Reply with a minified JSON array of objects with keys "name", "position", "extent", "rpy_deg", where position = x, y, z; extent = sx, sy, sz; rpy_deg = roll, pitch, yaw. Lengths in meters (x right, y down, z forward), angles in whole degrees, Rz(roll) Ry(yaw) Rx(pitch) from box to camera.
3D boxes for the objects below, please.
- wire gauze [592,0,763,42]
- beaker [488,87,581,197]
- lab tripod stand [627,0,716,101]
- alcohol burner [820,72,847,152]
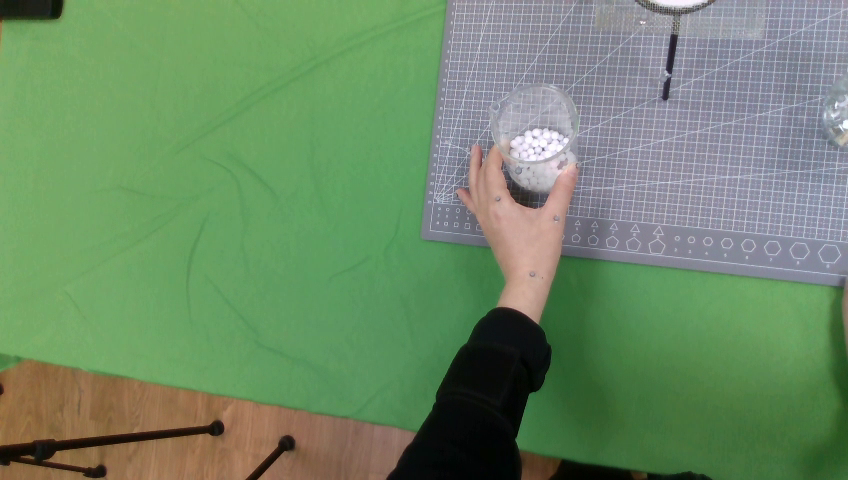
[{"name":"wire gauze","position":[0.195,-0.213,0.460],"extent":[0.124,0.011,0.121],"rpy_deg":[6,91,15]},{"name":"beaker","position":[0.103,-0.086,0.563],"extent":[0.083,0.101,0.074],"rpy_deg":[26,84,20]},{"name":"lab tripod stand","position":[0.212,-0.209,0.525],"extent":[0.148,0.132,0.148],"rpy_deg":[0,89,13]},{"name":"alcohol burner","position":[0.371,-0.108,0.489],"extent":[0.078,0.119,0.078],"rpy_deg":[0,88,14]}]
